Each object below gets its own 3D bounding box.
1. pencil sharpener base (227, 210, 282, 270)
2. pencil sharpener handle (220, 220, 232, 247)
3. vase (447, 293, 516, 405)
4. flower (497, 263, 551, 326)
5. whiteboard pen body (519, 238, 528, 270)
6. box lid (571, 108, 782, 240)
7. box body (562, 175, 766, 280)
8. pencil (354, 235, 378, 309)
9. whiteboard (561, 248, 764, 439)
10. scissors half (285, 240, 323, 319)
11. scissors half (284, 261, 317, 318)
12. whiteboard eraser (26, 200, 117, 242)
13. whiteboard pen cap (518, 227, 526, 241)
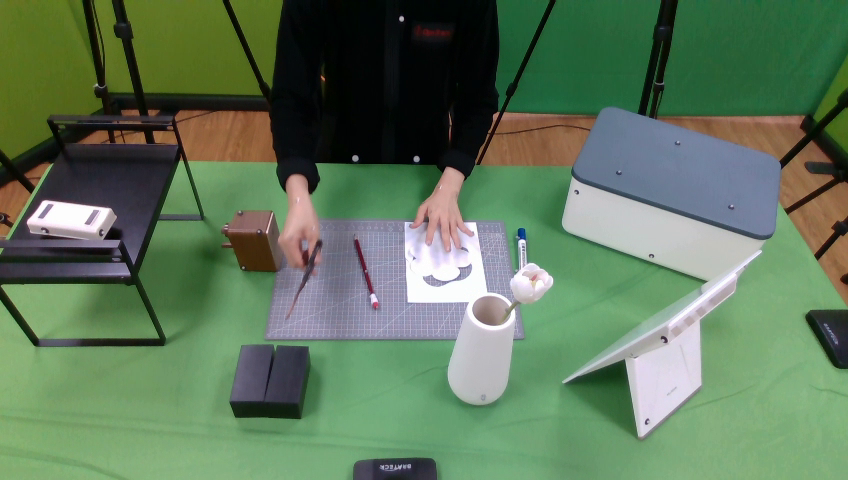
[{"bbox_3d":[-0.311,0.001,1.112,0.077,0.107,0.061,0,47,1],"label":"pencil sharpener base"},{"bbox_3d":[-0.362,-0.009,1.104,0.030,0.068,0.036,0,52,1],"label":"pencil sharpener handle"},{"bbox_3d":[0.091,0.169,0.921,0.098,0.201,0.097,3,47,-3],"label":"vase"},{"bbox_3d":[0.102,0.121,0.852,0.044,0.363,0.038,-2,64,-10],"label":"flower"},{"bbox_3d":[0.193,0.035,1.181,0.017,0.017,0.140,6,48,1],"label":"whiteboard pen body"},{"bbox_3d":[0.491,-0.139,1.168,0.370,0.015,0.262,21,49,15],"label":"box lid"},{"bbox_3d":[0.486,-0.088,1.222,0.363,0.161,0.253,20,48,15],"label":"box body"},{"bbox_3d":[-0.113,0.055,1.142,0.012,0.012,0.192,-10,46,-13],"label":"pencil"},{"bbox_3d":[0.386,0.176,0.905,0.217,0.306,0.143,-26,72,-27],"label":"whiteboard"},{"bbox_3d":[-0.194,0.060,0.977,0.013,0.040,0.174,19,45,-3],"label":"scissors half"},{"bbox_3d":[-0.201,0.075,0.989,0.013,0.040,0.174,23,27,-6],"label":"scissors half"},{"bbox_3d":[-0.532,-0.026,0.919,0.113,0.042,0.055,7,45,3],"label":"whiteboard eraser"},{"bbox_3d":[0.197,-0.009,1.220,0.018,0.018,0.033,5,50,1],"label":"whiteboard pen cap"}]
